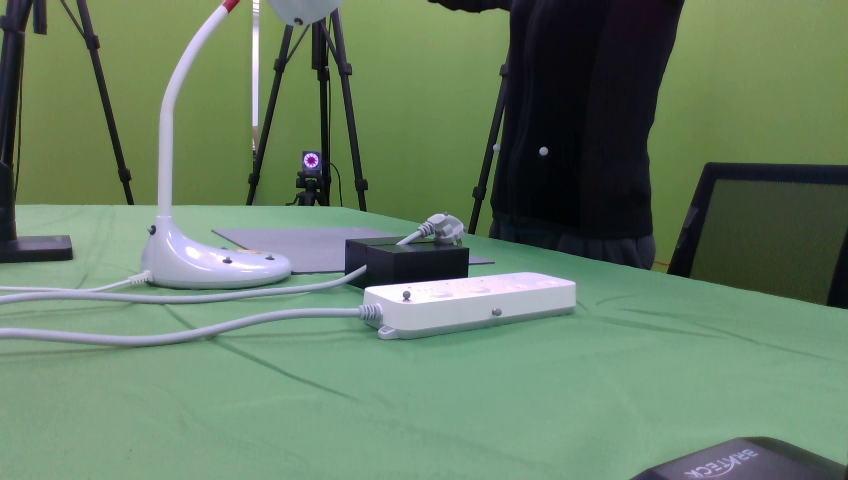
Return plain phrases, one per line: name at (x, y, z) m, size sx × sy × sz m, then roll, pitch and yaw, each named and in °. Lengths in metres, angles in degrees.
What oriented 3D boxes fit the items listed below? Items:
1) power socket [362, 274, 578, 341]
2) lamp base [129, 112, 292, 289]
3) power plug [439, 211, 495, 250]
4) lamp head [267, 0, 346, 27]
power socket at (0.048, 0.056, 0.549) m, size 0.228 × 0.032 × 0.072 m, roll -3°, pitch 8°, yaw -35°
lamp base at (-0.233, -0.045, 0.658) m, size 0.160 × 0.180 × 0.180 m, roll 7°, pitch 11°, yaw 29°
power plug at (0.048, -0.006, 0.683) m, size 0.072 × 0.053 × 0.035 m, roll 15°, pitch 57°, yaw 39°
lamp head at (-0.157, -0.326, 0.701) m, size 0.112 × 0.112 × 0.123 m, roll 6°, pitch -16°, yaw 26°
